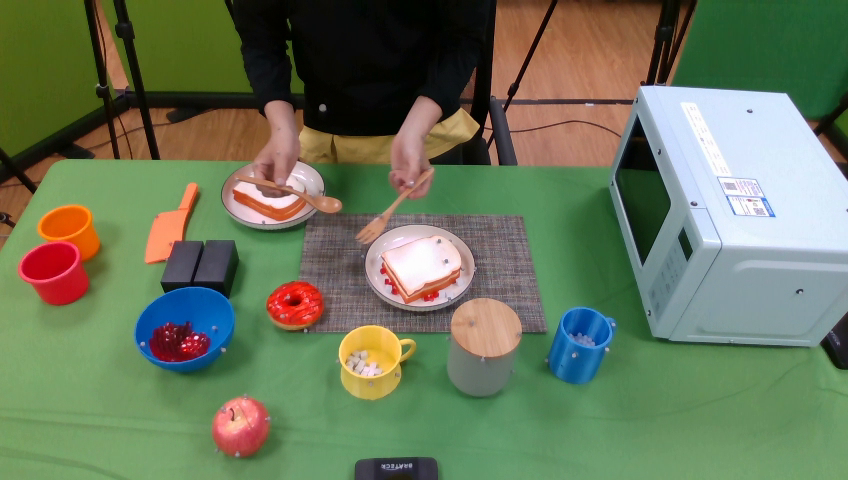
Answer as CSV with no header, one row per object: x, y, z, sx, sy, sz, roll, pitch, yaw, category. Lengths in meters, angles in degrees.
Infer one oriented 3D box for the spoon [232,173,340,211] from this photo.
-0.239,-0.088,1.066,0.194,0.021,0.041,19,44,-28,spoon

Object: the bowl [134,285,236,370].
-0.377,0.155,0.981,0.151,0.077,0.150,2,46,-2,bowl

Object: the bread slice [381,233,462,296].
0.001,0.038,1.108,0.134,0.018,0.106,-25,56,-22,bread slice

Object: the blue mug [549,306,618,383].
0.269,0.167,0.997,0.116,0.106,0.082,-19,50,-20,blue mug

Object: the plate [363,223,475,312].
-0.009,0.054,1.126,0.208,0.039,0.206,2,46,-2,plate

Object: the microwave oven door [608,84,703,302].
0.424,-0.096,1.138,0.039,0.245,0.353,2,47,-1,microwave oven door

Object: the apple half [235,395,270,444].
-0.245,0.260,0.893,0.033,0.082,0.081,-29,55,-22,apple half

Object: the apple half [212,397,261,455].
-0.276,0.277,0.877,0.053,0.075,0.080,-29,58,-21,apple half

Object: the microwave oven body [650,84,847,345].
0.569,-0.054,1.116,0.326,0.261,0.439,2,46,-1,microwave oven body

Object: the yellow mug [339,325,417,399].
-0.072,0.191,0.978,0.131,0.064,0.099,-17,49,-20,yellow mug

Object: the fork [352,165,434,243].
-0.049,-0.065,1.048,0.028,0.019,0.207,33,65,21,fork

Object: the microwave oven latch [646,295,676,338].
0.413,0.133,1.061,0.030,0.029,0.078,4,46,1,microwave oven latch

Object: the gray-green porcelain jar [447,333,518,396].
0.091,0.178,0.960,0.106,0.127,0.105,2,46,-2,gray-green porcelain jar

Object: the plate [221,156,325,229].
-0.308,-0.094,1.251,0.209,0.038,0.208,3,46,-3,plate

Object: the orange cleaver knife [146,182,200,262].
-0.494,-0.039,1.199,0.077,0.012,0.210,-3,48,1,orange cleaver knife

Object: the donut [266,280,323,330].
-0.223,0.112,1.051,0.099,0.048,0.098,2,46,-2,donut

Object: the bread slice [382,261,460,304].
0.000,0.055,1.129,0.131,0.019,0.104,-22,51,-21,bread slice

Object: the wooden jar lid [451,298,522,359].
0.093,0.135,0.914,0.108,0.021,0.107,2,48,-3,wooden jar lid
